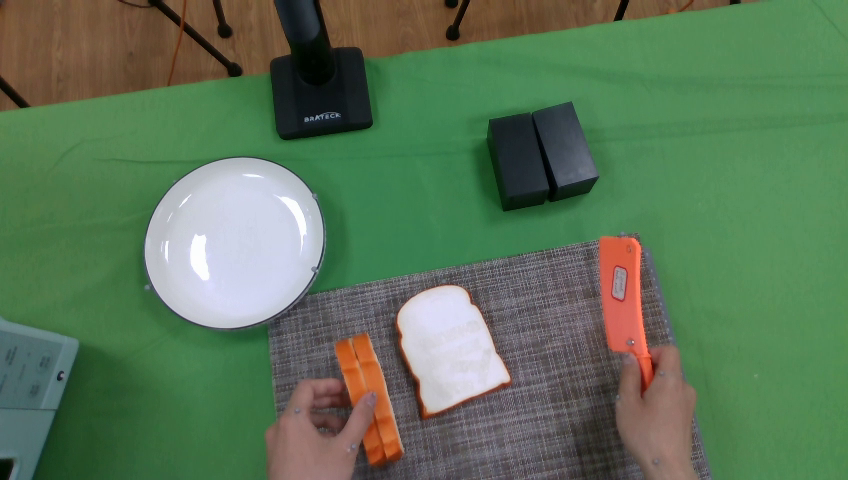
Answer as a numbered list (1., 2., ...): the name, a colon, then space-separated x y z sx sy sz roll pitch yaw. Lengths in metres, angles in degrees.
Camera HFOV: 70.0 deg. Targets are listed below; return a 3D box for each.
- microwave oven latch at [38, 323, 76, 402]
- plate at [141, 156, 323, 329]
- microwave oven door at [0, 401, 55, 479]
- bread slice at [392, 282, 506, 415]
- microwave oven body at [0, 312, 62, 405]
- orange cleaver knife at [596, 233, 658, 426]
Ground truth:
1. microwave oven latch: -0.407 0.133 0.657 0.030 0.029 0.079 13 75 4
2. plate: -0.219 0.003 0.710 0.208 0.039 0.206 0 74 0
3. microwave oven door: -0.456 0.310 0.502 0.039 0.245 0.354 11 74 5
4. bread slice: 0.025 0.115 0.683 0.107 0.018 0.134 -17 84 -9
5. microwave oven body: -0.590 0.243 0.527 0.326 0.261 0.439 11 75 4
6. orange cleaver knife: 0.216 0.091 0.654 0.012 0.077 0.210 -1 79 -19
